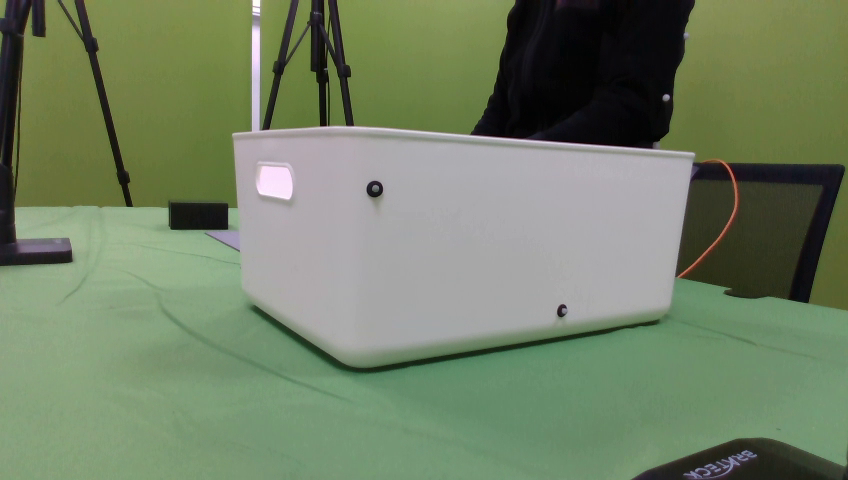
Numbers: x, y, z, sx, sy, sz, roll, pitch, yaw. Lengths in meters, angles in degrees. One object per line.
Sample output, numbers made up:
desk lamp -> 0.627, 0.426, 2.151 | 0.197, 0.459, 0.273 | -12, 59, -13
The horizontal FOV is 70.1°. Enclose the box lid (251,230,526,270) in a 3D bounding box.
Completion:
box lid -> -0.057, 0.011, 0.933 | 0.373, 0.015, 0.262 | -3, 8, -32

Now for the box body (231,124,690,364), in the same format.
box body -> 0.031, -0.013, 0.563 | 0.366, 0.160, 0.253 | -3, 8, -33

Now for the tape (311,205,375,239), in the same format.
tape -> -0.146, -0.034, 1.097 | 0.117, 0.052, 0.117 | 3, 8, 0
